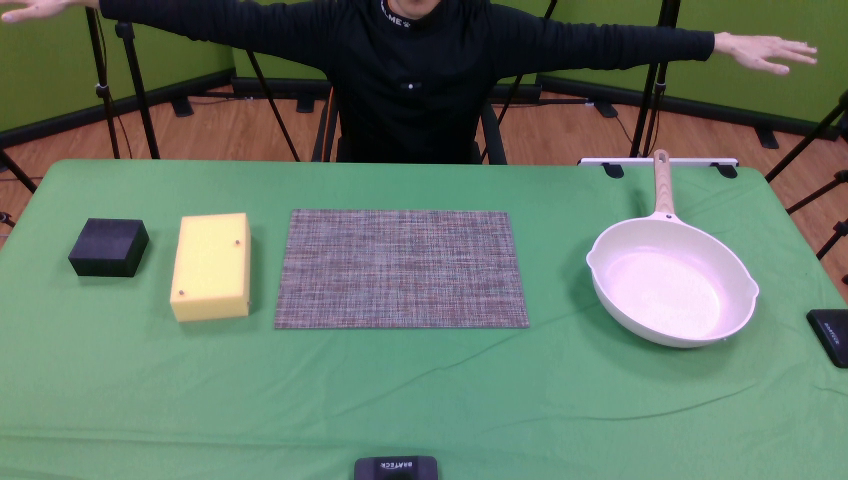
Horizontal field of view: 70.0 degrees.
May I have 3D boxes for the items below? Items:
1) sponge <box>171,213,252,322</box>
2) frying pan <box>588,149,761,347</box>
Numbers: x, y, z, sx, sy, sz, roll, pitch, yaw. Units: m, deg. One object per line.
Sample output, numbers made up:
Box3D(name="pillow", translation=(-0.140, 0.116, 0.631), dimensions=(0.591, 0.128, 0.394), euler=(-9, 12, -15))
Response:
Box3D(name="sponge", translation=(-0.379, 0.045, 1.099), dimensions=(0.118, 0.061, 0.205), euler=(-6, 47, -9))
Box3D(name="frying pan", translation=(0.471, -0.003, 1.174), dimensions=(0.307, 0.103, 0.485), euler=(11, 55, 6))
